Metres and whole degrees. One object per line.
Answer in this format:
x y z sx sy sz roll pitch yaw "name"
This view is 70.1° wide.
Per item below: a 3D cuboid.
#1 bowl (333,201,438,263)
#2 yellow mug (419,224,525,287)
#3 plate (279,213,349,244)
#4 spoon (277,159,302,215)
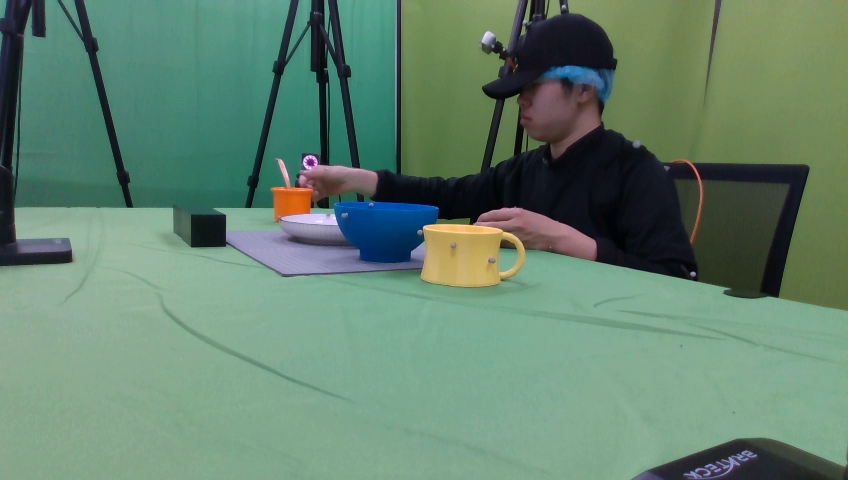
-0.057 -0.011 0.866 0.151 0.077 0.151 3 8 0 "bowl"
0.060 0.018 0.746 0.131 0.064 0.100 3 7 -7 "yellow mug"
-0.147 -0.020 1.060 0.209 0.038 0.209 2 7 0 "plate"
-0.308 -0.117 1.368 0.042 0.193 0.021 3 -39 -32 "spoon"
